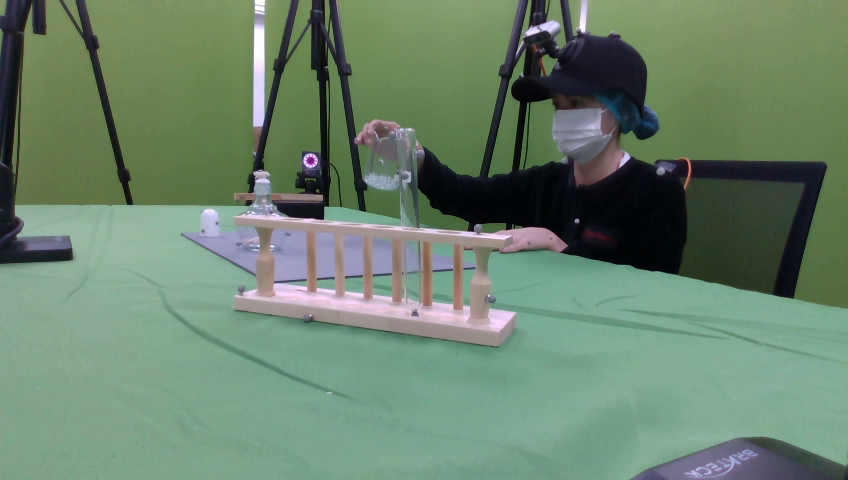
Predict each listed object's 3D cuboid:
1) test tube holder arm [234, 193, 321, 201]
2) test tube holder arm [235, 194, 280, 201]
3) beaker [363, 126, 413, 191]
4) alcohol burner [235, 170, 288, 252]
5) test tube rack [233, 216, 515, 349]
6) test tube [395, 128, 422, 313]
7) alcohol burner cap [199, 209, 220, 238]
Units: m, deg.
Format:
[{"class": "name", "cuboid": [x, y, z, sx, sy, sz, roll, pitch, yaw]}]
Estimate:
[{"class": "test tube holder arm", "cuboid": [-0.299, -0.088, 1.248, 0.179, 0.015, 0.013, -1, 16, -30]}, {"class": "test tube holder arm", "cuboid": [-0.336, -0.086, 1.221, 0.088, 0.015, 0.010, -1, 16, -29]}, {"class": "beaker", "cuboid": [-0.068, -0.145, 1.080, 0.074, 0.100, 0.084, 21, 25, 19]}, {"class": "alcohol burner", "cuboid": [-0.236, -0.042, 0.882, 0.078, 0.119, 0.078, 2, 9, 0]}, {"class": "test tube rack", "cuboid": [-0.045, 0.029, 0.526, 0.241, 0.085, 0.067, 5, 8, 19]}, {"class": "test tube", "cuboid": [-0.012, -0.015, 0.491, 0.017, 0.150, 0.017, -2, 5, 1]}, {"class": "alcohol burner cap", "cuboid": [-0.356, -0.027, 1.002, 0.034, 0.048, 0.034, 2, 7, 0]}]
